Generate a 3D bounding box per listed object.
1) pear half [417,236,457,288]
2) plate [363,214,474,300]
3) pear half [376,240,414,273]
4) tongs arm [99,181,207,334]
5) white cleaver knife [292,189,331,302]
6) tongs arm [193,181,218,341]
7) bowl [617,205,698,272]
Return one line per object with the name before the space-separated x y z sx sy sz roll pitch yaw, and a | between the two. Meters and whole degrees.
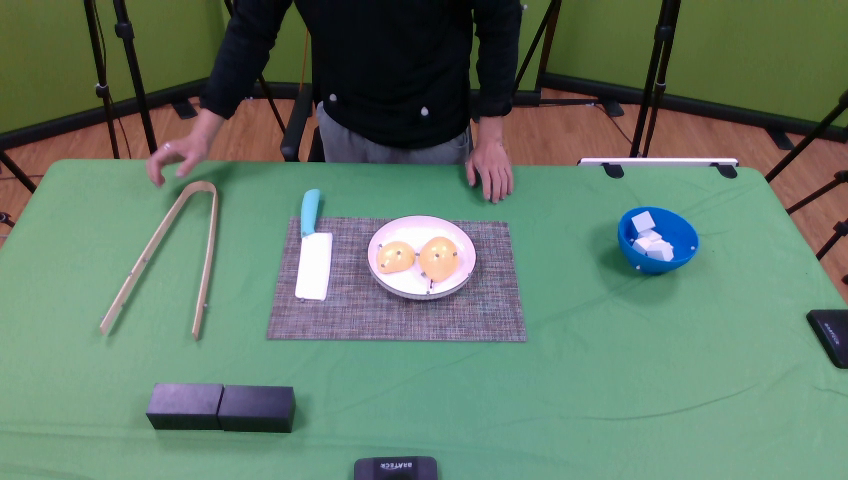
pear half | 0.022 0.039 1.127 0.076 0.056 0.109 6 50 7
plate | -0.010 0.036 1.146 0.208 0.039 0.206 2 46 -2
pear half | -0.058 0.026 1.146 0.070 0.031 0.088 23 43 22
tongs arm | -0.494 0.018 1.132 0.051 0.026 0.382 7 45 0
white cleaver knife | -0.215 0.006 1.178 0.066 0.021 0.284 5 49 -13
tongs arm | -0.413 0.024 1.140 0.028 0.028 0.385 -5 47 -7
bowl | 0.443 0.010 1.181 0.151 0.077 0.150 2 47 -2
